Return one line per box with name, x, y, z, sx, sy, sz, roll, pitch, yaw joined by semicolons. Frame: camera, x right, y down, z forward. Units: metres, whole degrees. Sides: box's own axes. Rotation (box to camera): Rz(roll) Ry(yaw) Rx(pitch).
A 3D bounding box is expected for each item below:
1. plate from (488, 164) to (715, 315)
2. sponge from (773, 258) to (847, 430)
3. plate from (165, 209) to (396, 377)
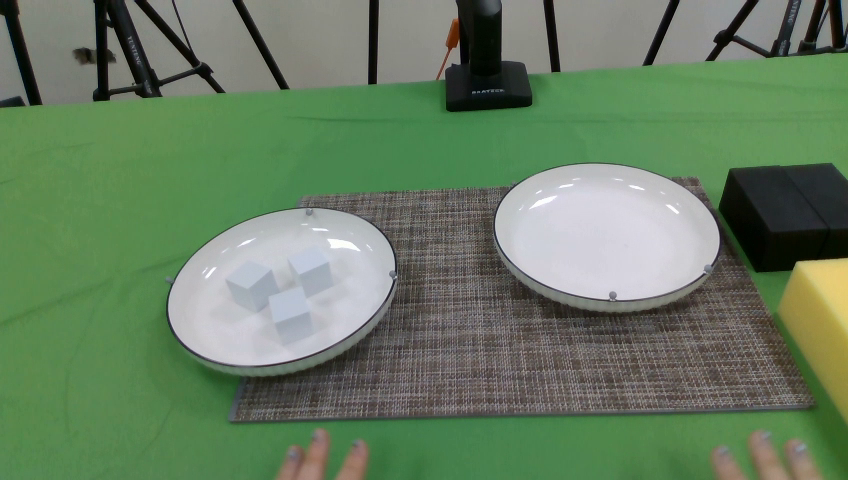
plate;0.166;-0.001;0.587;0.207;0.039;0.205;-3;41;3
sponge;0.363;0.102;0.433;0.118;0.061;0.204;-5;41;1
plate;-0.128;0.047;0.563;0.209;0.038;0.207;-3;40;3
